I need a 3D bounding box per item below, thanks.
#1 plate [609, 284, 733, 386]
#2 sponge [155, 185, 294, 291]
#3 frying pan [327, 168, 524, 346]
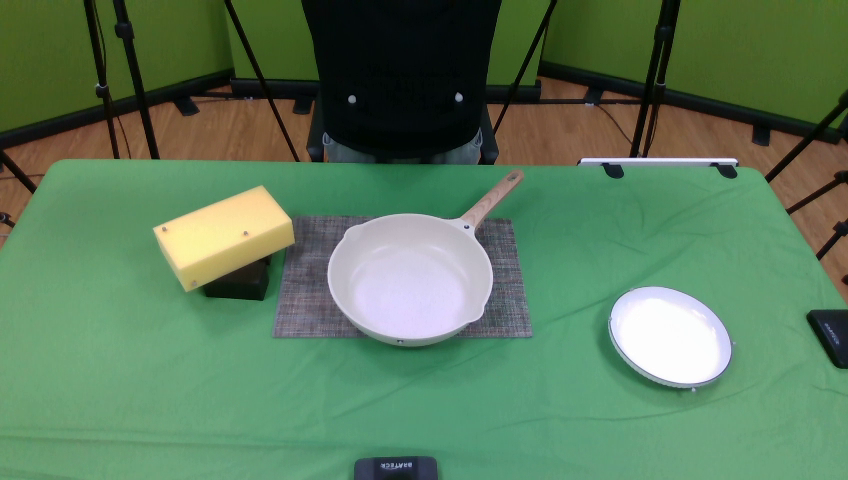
[{"bbox_3d":[0.425,0.167,1.059,0.208,0.039,0.206,2,46,-2],"label":"plate"},{"bbox_3d":[-0.353,-0.008,1.085,0.207,0.061,0.117,-28,54,-26],"label":"sponge"},{"bbox_3d":[0.042,0.009,1.131,0.305,0.103,0.487,34,61,24],"label":"frying pan"}]
